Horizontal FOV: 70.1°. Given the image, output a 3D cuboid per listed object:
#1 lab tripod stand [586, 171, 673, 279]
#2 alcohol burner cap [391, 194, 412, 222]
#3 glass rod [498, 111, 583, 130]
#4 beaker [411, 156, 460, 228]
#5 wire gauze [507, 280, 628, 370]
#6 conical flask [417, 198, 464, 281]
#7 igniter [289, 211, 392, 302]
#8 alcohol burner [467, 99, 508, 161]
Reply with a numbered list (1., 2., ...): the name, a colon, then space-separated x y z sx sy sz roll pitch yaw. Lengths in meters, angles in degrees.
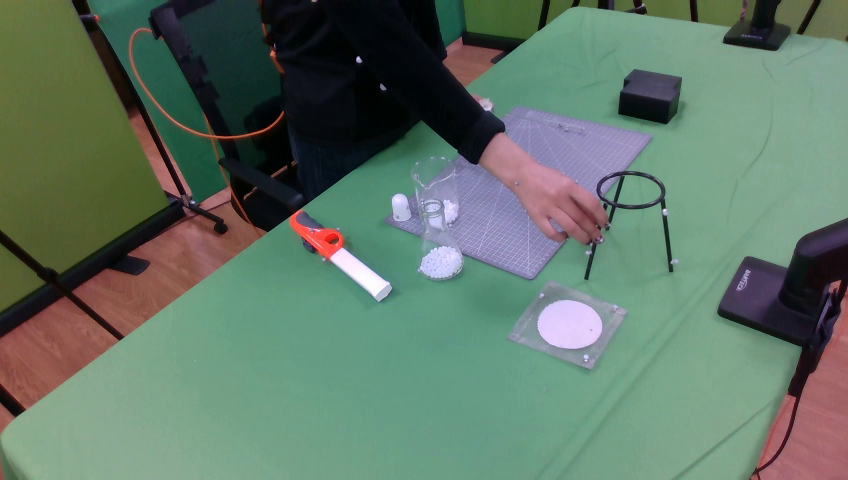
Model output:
1. lab tripod stand: 0.288 -0.024 0.868 0.148 0.132 0.147 -6 38 5
2. alcohol burner cap: -0.041 -0.057 1.040 0.034 0.048 0.033 -5 41 5
3. glass rod: 0.234 -0.245 1.235 0.198 0.008 0.008 20 49 34
4. beaker: 0.020 -0.076 1.006 0.074 0.101 0.084 3 42 15
5. wire gauze: 0.196 0.114 0.823 0.120 0.011 0.125 20 50 31
6. conical flask: 0.019 -0.004 0.907 0.075 0.122 0.075 -5 40 5
7. igniter: -0.145 0.019 0.986 0.057 0.025 0.274 -40 48 -17
8. alcohol burner: 0.119 -0.210 1.134 0.078 0.119 0.077 -4 39 4
